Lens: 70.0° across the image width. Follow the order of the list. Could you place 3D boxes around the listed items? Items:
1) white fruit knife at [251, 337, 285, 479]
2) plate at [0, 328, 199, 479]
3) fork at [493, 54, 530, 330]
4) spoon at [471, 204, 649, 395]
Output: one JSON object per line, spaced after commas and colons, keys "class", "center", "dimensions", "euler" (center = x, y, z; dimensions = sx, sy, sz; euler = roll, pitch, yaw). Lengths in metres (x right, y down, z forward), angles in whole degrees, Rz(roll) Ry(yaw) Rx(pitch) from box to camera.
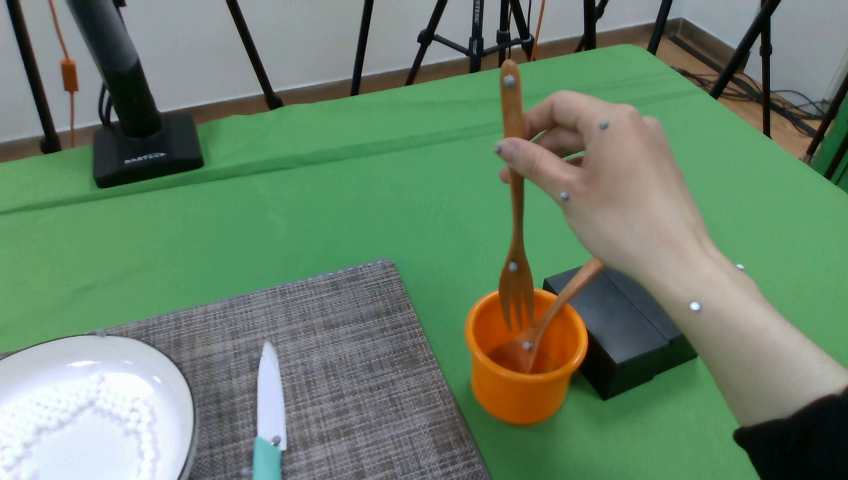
{"class": "white fruit knife", "center": [-0.116, 0.152, 0.452], "dimensions": [0.027, 0.016, 0.205], "euler": [17, 34, -28]}
{"class": "plate", "center": [-0.264, 0.155, 0.429], "dimensions": [0.209, 0.038, 0.207], "euler": [0, 43, 0]}
{"class": "fork", "center": [0.059, -0.021, 0.411], "dimensions": [0.028, 0.209, 0.018], "euler": [-9, 35, -3]}
{"class": "spoon", "center": [0.105, 0.047, 0.470], "dimensions": [0.022, 0.194, 0.041], "euler": [24, 21, -46]}
